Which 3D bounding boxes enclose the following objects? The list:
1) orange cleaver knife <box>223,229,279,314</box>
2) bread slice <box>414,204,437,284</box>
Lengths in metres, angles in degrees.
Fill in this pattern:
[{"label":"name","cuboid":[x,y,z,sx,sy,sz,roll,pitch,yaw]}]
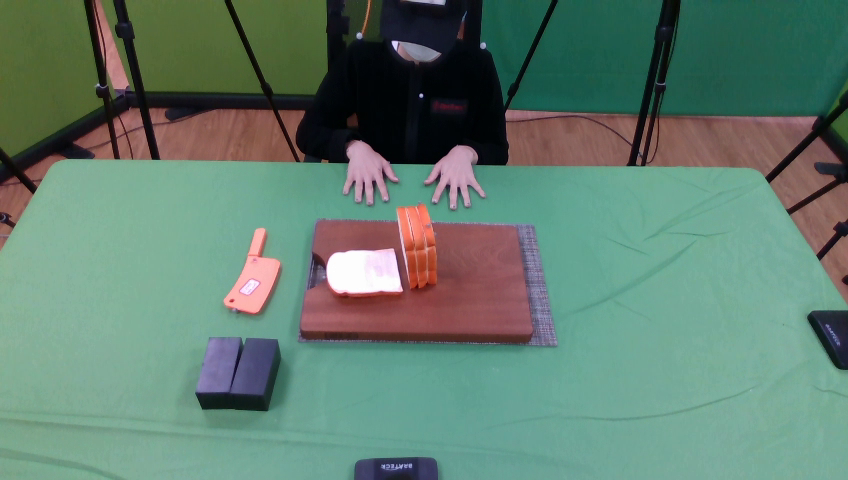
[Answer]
[{"label":"orange cleaver knife","cuboid":[-0.311,0.055,1.125,0.077,0.012,0.210,3,44,2]},{"label":"bread slice","cuboid":[0.003,0.004,1.077,0.018,0.135,0.106,-12,54,-7]}]
